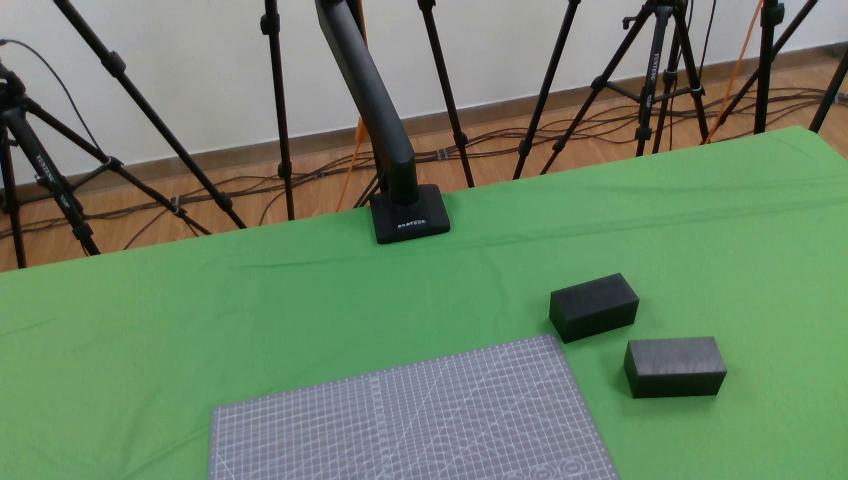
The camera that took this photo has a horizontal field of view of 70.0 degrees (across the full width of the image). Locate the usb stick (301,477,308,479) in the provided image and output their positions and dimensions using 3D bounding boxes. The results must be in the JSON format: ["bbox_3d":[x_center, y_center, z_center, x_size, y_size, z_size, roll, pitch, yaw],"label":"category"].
[{"bbox_3d":[-0.119,0.271,0.624,0.021,0.060,0.027,-27,46,-18],"label":"usb stick"}]

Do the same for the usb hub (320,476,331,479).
[{"bbox_3d":[-0.146,0.302,0.638,0.125,0.025,0.049,-23,46,-18],"label":"usb hub"}]
